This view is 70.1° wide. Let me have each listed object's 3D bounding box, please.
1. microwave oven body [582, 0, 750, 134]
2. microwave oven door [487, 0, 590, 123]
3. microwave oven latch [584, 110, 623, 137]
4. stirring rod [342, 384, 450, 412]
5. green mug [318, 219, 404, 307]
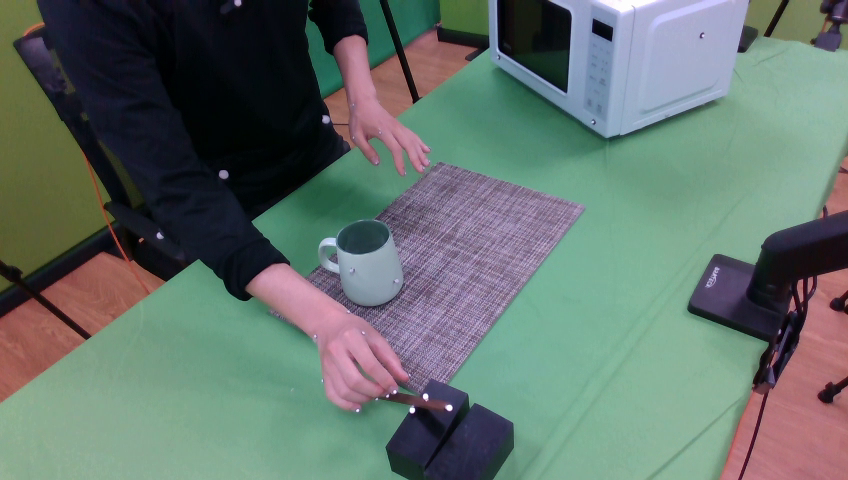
[{"bbox_3d":[0.382,-0.445,1.246,0.327,0.261,0.437,-22,42,-16],"label":"microwave oven body"},{"bbox_3d":[0.232,-0.420,1.230,0.039,0.245,0.352,-22,43,-16],"label":"microwave oven door"},{"bbox_3d":[0.337,-0.222,1.142,0.030,0.029,0.078,-21,42,-14],"label":"microwave oven latch"},{"bbox_3d":[-0.038,0.186,0.714,0.175,0.006,0.014,-4,22,43],"label":"stirring rod"},{"bbox_3d":[-0.095,0.032,0.876,0.125,0.105,0.092,8,43,17],"label":"green mug"}]
